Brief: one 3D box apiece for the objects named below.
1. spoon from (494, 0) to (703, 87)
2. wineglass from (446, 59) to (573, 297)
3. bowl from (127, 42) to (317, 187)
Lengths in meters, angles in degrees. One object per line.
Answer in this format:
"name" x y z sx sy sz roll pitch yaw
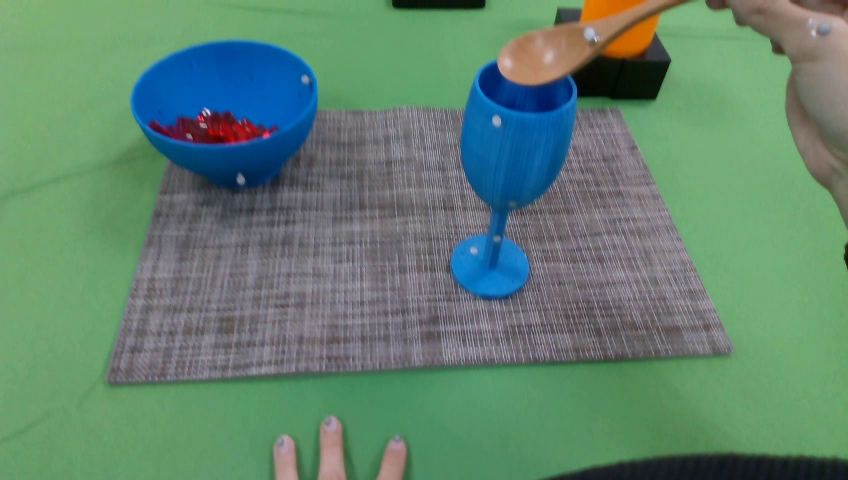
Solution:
"spoon" 0.124 -0.118 0.311 0.193 0.022 0.041 -12 58 36
"wineglass" 0.054 -0.036 0.430 0.074 0.174 0.073 2 48 -2
"bowl" -0.168 -0.100 0.531 0.151 0.077 0.150 2 49 -2
